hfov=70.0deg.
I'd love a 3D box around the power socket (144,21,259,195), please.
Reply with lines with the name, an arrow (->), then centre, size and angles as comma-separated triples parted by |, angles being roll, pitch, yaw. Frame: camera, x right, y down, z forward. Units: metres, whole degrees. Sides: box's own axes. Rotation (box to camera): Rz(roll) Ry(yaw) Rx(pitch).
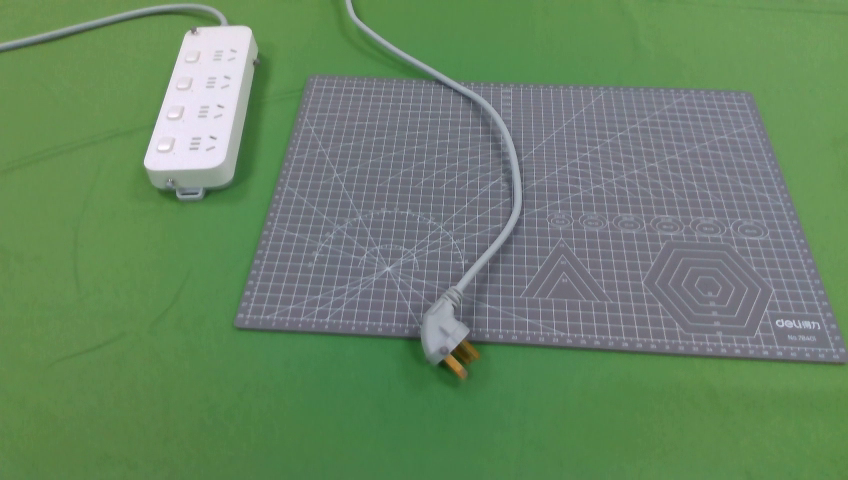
power socket -> -0.208, -0.138, 0.582 | 0.072, 0.033, 0.224 | -1, 53, -2

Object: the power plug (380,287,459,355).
power plug -> -0.002, 0.049, 0.425 | 0.035, 0.073, 0.052 | -34, 17, -9
